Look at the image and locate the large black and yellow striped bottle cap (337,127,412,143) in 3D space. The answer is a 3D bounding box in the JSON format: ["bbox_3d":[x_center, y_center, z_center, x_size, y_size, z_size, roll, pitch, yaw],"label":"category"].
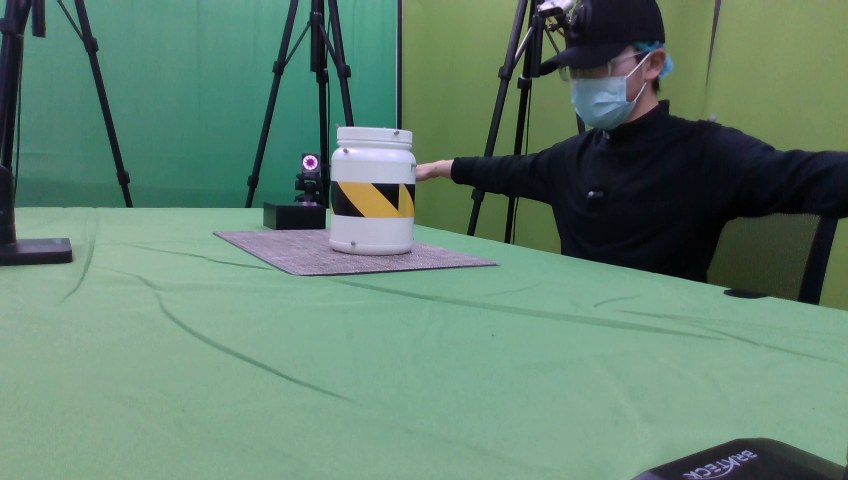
[{"bbox_3d":[-0.075,-0.160,0.920,0.115,0.019,0.115,3,8,0],"label":"large black and yellow striped bottle cap"}]

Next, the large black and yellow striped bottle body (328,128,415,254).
[{"bbox_3d":[-0.080,-0.077,0.929,0.131,0.184,0.130,3,7,0],"label":"large black and yellow striped bottle body"}]
